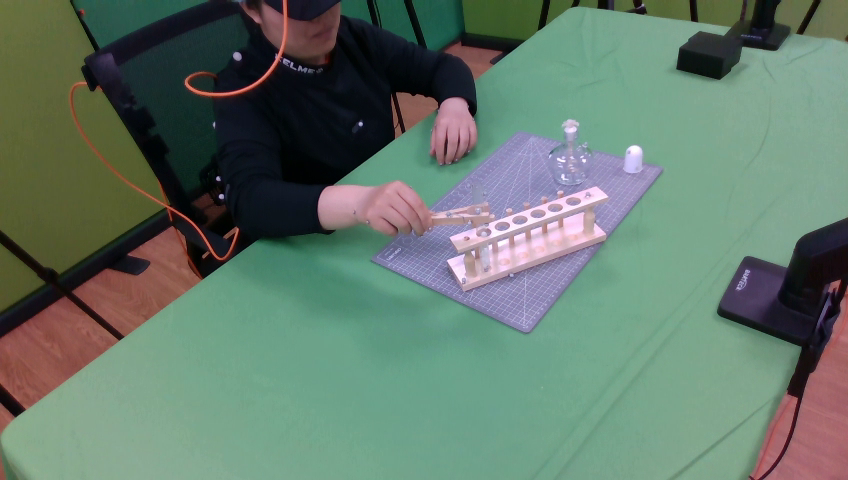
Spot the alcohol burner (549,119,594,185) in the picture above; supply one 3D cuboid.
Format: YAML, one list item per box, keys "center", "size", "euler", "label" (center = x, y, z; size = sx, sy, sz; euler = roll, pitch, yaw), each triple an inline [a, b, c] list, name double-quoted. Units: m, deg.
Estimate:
- center: [0.254, -0.155, 1.043]
  size: [0.078, 0.120, 0.077]
  euler: [-7, 40, 6]
  label: "alcohol burner"

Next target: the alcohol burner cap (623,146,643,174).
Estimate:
- center: [0.369, -0.143, 1.061]
  size: [0.034, 0.048, 0.033]
  euler: [-7, 41, 6]
  label: "alcohol burner cap"

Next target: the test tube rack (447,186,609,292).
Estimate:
- center: [0.155, -0.011, 0.913]
  size: [0.243, 0.085, 0.066]
  euler: [-19, 40, -11]
  label: "test tube rack"

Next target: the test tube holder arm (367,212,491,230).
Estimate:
- center: [0.005, -0.027, 0.852]
  size: [0.178, 0.015, 0.013]
  euler: [-4, 33, 13]
  label: "test tube holder arm"

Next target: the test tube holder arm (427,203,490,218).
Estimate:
- center: [0.048, -0.035, 0.850]
  size: [0.088, 0.015, 0.010]
  euler: [-13, 33, 0]
  label: "test tube holder arm"

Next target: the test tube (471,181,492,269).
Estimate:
- center: [0.082, -0.018, 0.856]
  size: [0.017, 0.151, 0.017]
  euler: [-7, 37, 6]
  label: "test tube"
